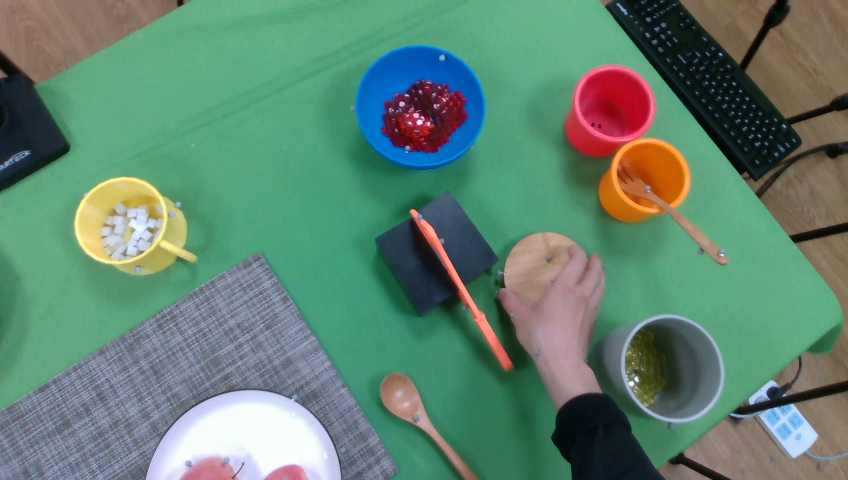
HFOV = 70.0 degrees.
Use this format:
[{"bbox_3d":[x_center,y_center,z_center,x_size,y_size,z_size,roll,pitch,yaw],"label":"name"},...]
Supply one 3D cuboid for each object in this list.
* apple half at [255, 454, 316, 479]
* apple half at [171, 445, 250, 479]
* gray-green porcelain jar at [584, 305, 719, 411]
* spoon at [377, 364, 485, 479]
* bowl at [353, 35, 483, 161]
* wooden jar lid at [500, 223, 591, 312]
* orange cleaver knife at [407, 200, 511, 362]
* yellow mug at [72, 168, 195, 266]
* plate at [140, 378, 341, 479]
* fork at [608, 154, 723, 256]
[{"bbox_3d":[-0.150,0.273,0.644,0.081,0.033,0.081,0,76,-1],"label":"apple half"},{"bbox_3d":[-0.229,0.261,0.632,0.074,0.053,0.080,-36,83,-7],"label":"apple half"},{"bbox_3d":[0.239,0.129,0.659,0.106,0.127,0.105,1,78,-3],"label":"gray-green porcelain jar"},{"bbox_3d":[0.015,0.218,0.682,0.193,0.022,0.041,48,56,7],"label":"spoon"},{"bbox_3d":[-0.008,-0.158,0.727,0.151,0.077,0.150,1,79,-3],"label":"bowl"},{"bbox_3d":[0.144,0.033,0.728,0.108,0.021,0.108,0,80,-2],"label":"wooden jar lid"},{"bbox_3d":[0.039,0.047,0.688,0.012,0.076,0.212,-32,106,-6],"label":"orange cleaver knife"},{"bbox_3d":[-0.320,-0.017,0.689,0.131,0.064,0.099,27,78,1],"label":"yellow mug"},{"bbox_3d":[-0.193,0.254,0.651,0.209,0.038,0.208,1,79,-4],"label":"plate"},{"bbox_3d":[0.268,-0.044,0.684,0.028,0.019,0.205,-17,36,-7],"label":"fork"}]
